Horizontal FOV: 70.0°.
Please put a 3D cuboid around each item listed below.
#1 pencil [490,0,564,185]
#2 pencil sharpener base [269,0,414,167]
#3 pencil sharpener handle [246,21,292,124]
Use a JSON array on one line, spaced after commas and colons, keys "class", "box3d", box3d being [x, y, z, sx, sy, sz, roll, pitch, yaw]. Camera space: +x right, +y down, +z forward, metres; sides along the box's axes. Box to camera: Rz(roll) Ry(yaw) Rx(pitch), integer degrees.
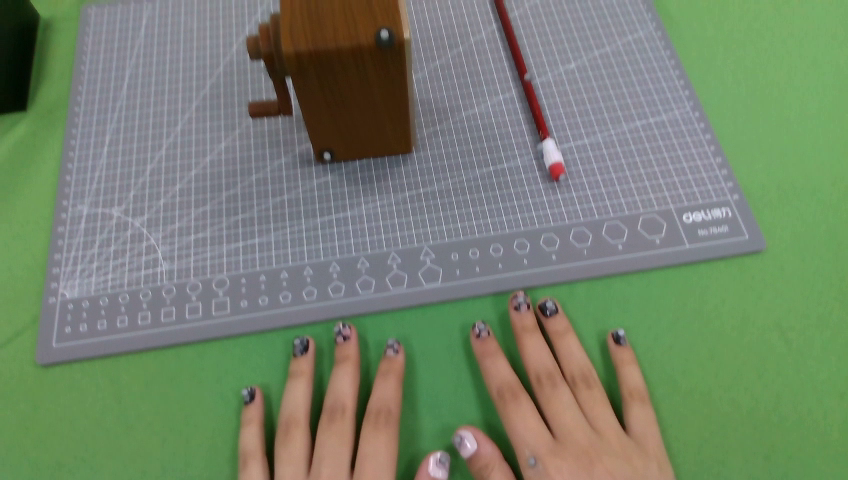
[{"class": "pencil", "box3d": [0.072, -0.119, 0.450, 0.012, 0.012, 0.192, -9, 60, -5]}, {"class": "pencil sharpener base", "box3d": [-0.049, -0.101, 0.384, 0.077, 0.108, 0.061, -8, 62, -3]}, {"class": "pencil sharpener handle", "box3d": [-0.099, -0.098, 0.368, 0.031, 0.068, 0.035, -8, 52, -3]}]
